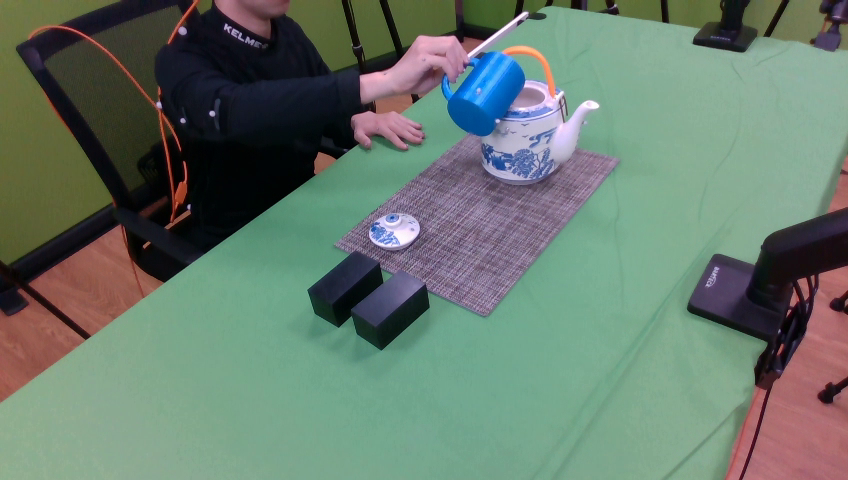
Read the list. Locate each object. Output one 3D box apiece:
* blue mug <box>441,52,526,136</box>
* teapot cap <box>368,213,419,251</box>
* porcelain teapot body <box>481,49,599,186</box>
[{"bbox_3d":[0.084,-0.236,0.943,0.116,0.082,0.106,33,69,5],"label":"blue mug"},{"bbox_3d":[-0.050,-0.019,0.975,0.085,0.044,0.085,-4,43,4],"label":"teapot cap"},{"bbox_3d":[0.193,-0.208,1.023,0.204,0.226,0.145,16,46,25],"label":"porcelain teapot body"}]
